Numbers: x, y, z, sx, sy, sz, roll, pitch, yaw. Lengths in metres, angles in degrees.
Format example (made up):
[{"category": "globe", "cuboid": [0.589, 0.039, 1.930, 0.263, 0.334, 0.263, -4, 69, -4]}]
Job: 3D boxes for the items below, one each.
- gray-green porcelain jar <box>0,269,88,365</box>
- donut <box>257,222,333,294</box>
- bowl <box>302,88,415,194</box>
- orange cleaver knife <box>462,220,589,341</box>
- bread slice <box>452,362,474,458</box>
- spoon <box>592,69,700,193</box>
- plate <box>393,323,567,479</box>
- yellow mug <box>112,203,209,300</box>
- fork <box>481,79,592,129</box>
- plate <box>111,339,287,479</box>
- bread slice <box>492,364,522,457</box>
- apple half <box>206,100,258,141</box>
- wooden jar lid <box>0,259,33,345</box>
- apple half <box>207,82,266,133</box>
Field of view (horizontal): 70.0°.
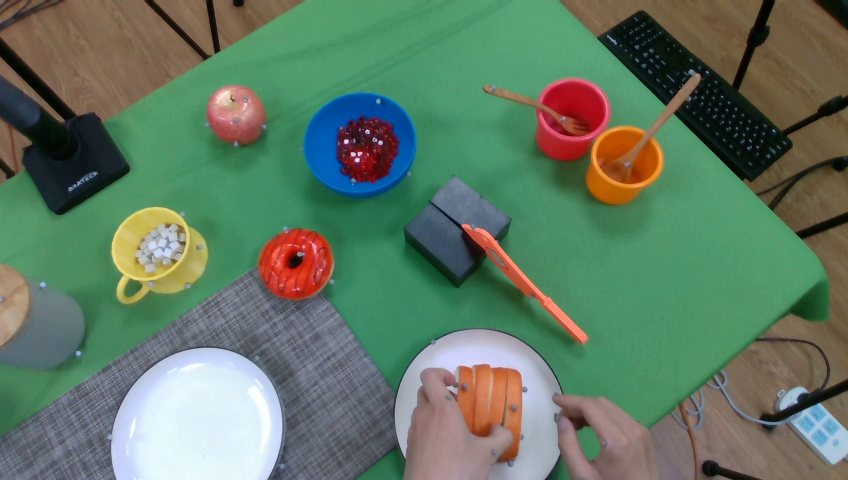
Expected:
[{"category": "gray-green porcelain jar", "cuboid": [-0.489, 0.096, 0.740, 0.106, 0.127, 0.105, 0, 71, 1]}, {"category": "donut", "cuboid": [-0.169, 0.024, 0.796, 0.099, 0.048, 0.098, 0, 72, 1]}, {"category": "bowl", "cuboid": [-0.085, -0.123, 0.830, 0.151, 0.077, 0.150, 0, 72, 1]}, {"category": "orange cleaver knife", "cuboid": [0.126, 0.049, 0.764, 0.212, 0.077, 0.012, 45, 80, -9]}, {"category": "bread slice", "cuboid": [0.043, 0.189, 0.686, 0.018, 0.135, 0.106, 2, 68, 2]}, {"category": "spoon", "cuboid": [0.289, -0.138, 0.789, 0.041, 0.022, 0.194, 45, 123, 16]}, {"category": "plate", "cuboid": [0.067, 0.206, 0.736, 0.209, 0.038, 0.207, 0, 71, 1]}, {"category": "yellow mug", "cuboid": [-0.353, 0.022, 0.794, 0.099, 0.064, 0.130, 28, 75, 10]}, {"category": "fork", "cuboid": [0.155, -0.180, 0.806, 0.209, 0.018, 0.028, 11, 63, -39]}, {"category": "plate", "cuboid": [-0.267, 0.225, 0.734, 0.208, 0.039, 0.206, 0, 72, 1]}, {"category": "bread slice", "cuboid": [0.093, 0.192, 0.681, 0.019, 0.132, 0.104, 4, 74, 1]}, {"category": "apple half", "cuboid": [-0.271, -0.157, 0.847, 0.081, 0.082, 0.032, 18, 67, 8]}, {"category": "wooden jar lid", "cuboid": [-0.491, 0.074, 0.682, 0.108, 0.021, 0.107, -1, 70, 3]}, {"category": "apple half", "cuboid": [-0.259, -0.191, 0.860, 0.080, 0.075, 0.053, 17, 67, 11]}]
